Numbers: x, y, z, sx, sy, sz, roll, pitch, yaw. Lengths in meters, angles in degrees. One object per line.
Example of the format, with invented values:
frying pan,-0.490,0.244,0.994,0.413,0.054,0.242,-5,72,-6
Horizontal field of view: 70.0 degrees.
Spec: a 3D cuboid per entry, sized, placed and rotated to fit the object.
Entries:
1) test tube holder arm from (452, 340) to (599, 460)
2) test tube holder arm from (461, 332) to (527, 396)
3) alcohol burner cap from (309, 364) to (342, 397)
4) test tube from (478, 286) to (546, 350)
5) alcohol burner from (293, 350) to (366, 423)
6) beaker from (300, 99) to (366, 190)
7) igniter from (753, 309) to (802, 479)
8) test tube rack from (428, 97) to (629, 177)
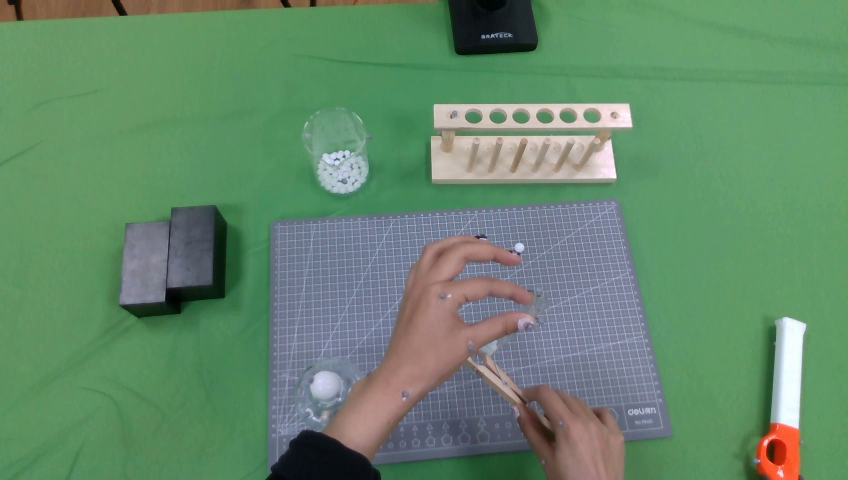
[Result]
test tube holder arm,0.102,0.162,0.619,0.177,0.015,0.013,39,57,14
test tube holder arm,0.073,0.131,0.634,0.010,0.015,0.087,-34,69,-30
alcohol burner cap,-0.099,0.139,0.601,0.034,0.048,0.033,1,74,-3
test tube,0.076,0.074,0.548,0.017,0.151,0.017,5,64,-11
alcohol burner,-0.100,0.151,0.635,0.078,0.120,0.077,2,67,-3
beaker,-0.109,-0.111,0.746,0.074,0.101,0.083,-1,69,-3
igniter,0.401,0.211,0.683,0.057,0.025,0.275,19,69,-5
test tube rack,0.128,-0.130,0.772,0.242,0.085,0.066,0,69,-3
